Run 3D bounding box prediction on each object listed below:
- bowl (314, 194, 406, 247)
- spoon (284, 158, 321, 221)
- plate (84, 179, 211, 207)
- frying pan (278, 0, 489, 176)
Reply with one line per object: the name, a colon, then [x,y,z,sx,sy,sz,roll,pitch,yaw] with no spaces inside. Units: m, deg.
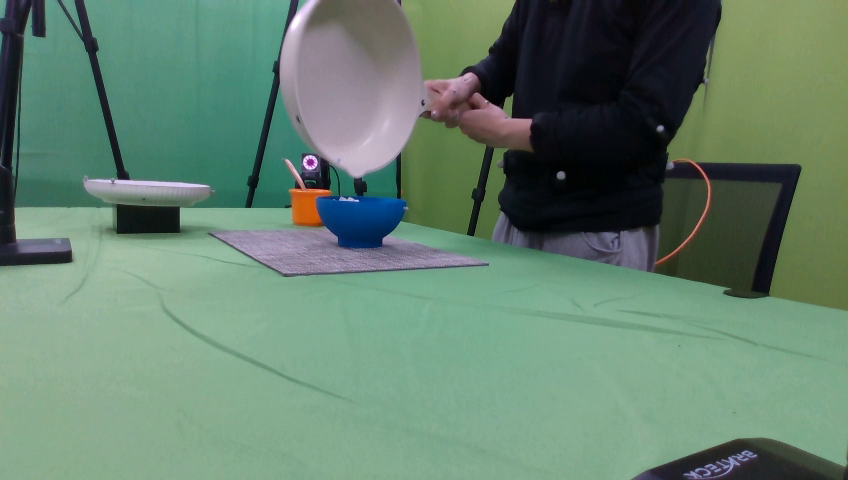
bowl: [-0.105,-0.033,0.991,0.151,0.077,0.151,2,8,0]
spoon: [-0.269,-0.113,1.336,0.042,0.193,0.021,-3,-35,-43]
plate: [-0.495,-0.085,1.093,0.208,0.039,0.207,4,7,0]
frying pan: [-0.044,-0.253,1.035,0.102,0.306,0.491,10,5,44]
